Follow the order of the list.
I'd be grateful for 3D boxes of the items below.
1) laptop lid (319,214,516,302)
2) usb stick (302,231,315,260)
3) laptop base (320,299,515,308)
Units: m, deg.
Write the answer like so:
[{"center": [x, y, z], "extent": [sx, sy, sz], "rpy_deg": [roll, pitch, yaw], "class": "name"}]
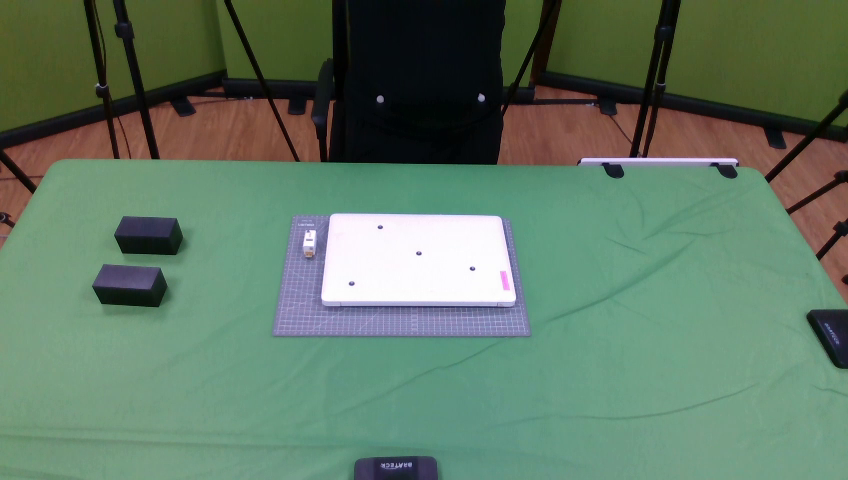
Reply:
[{"center": [-0.013, 0.029, 1.154], "extent": [0.357, 0.013, 0.240], "rpy_deg": [2, 43, -3], "class": "laptop lid"}, {"center": [-0.223, 0.011, 1.163], "extent": [0.021, 0.027, 0.059], "rpy_deg": [3, 48, -6], "class": "usb stick"}, {"center": [-0.013, 0.039, 1.160], "extent": [0.355, 0.023, 0.234], "rpy_deg": [0, 43, -4], "class": "laptop base"}]
